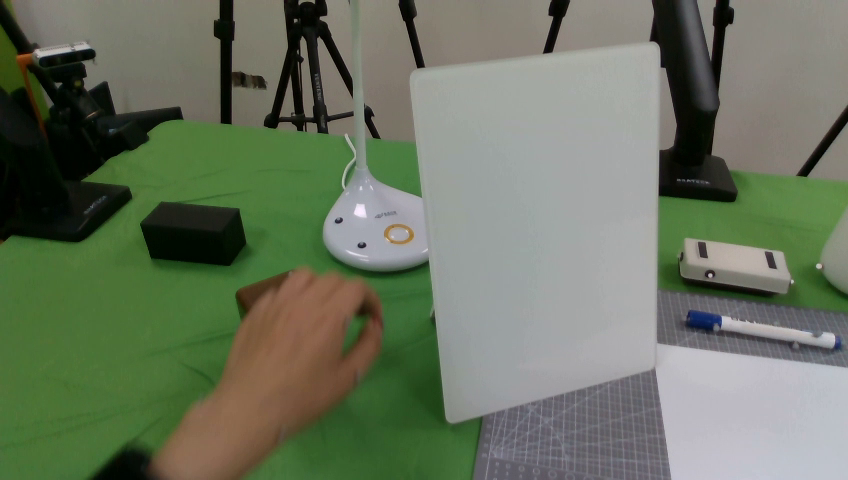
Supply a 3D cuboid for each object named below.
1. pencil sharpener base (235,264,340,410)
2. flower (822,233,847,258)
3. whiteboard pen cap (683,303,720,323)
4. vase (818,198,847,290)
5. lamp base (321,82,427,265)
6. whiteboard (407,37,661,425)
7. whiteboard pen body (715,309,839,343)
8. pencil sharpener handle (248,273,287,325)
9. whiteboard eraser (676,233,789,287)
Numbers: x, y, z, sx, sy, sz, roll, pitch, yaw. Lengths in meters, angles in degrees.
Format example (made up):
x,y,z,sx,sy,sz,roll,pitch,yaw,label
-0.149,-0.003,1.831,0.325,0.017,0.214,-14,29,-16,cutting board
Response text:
x,y,z,sx,sy,sz,roll,pitch,yaw,label
-0.123,0.086,0.548,0.061,0.108,0.076,-22,41,-27,pencil sharpener base
0.512,-0.093,0.583,0.044,0.364,0.038,-7,53,-20,flower
0.292,0.078,0.636,0.033,0.018,0.018,11,37,10,whiteboard pen cap
0.505,-0.036,0.644,0.098,0.201,0.097,1,36,0,vase
-0.057,-0.088,0.730,0.161,0.182,0.177,-23,39,-29,lamp base
0.089,-0.019,0.576,0.218,0.307,0.142,-11,18,-14,whiteboard
0.349,0.086,0.625,0.140,0.017,0.017,9,36,12,whiteboard pen body
-0.149,0.051,0.576,0.036,0.068,0.030,-28,43,-21,pencil sharpener handle
0.349,0.025,0.694,0.112,0.042,0.055,8,34,12,whiteboard eraser
